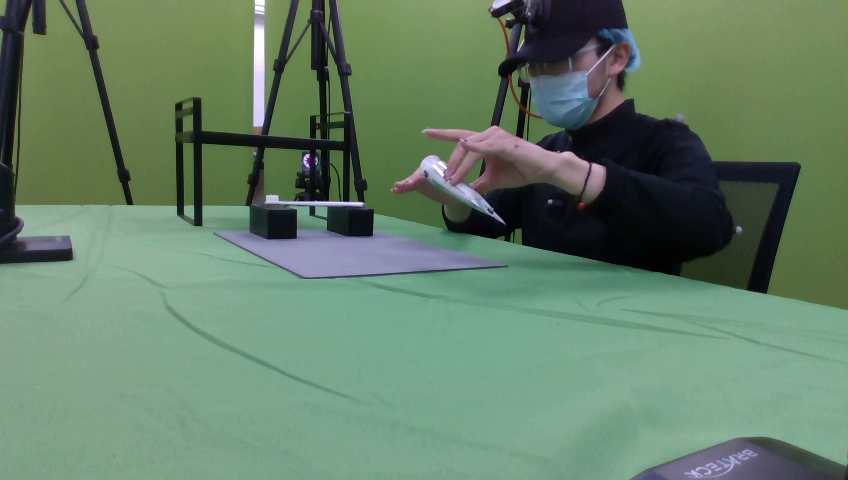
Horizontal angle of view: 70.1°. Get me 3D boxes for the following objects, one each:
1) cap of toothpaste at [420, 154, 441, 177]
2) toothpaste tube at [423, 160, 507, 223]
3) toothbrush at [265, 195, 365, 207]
[{"bbox_3d":[0.012,-0.105,0.866,0.037,0.037,0.011,-3,29,-35],"label":"cap of toothpaste"},{"bbox_3d":[0.048,-0.069,0.806,0.055,0.034,0.164,21,14,-40],"label":"toothpaste tube"},{"bbox_3d":[-0.192,-0.068,1.082,0.183,0.016,0.014,1,-8,-26],"label":"toothbrush"}]
